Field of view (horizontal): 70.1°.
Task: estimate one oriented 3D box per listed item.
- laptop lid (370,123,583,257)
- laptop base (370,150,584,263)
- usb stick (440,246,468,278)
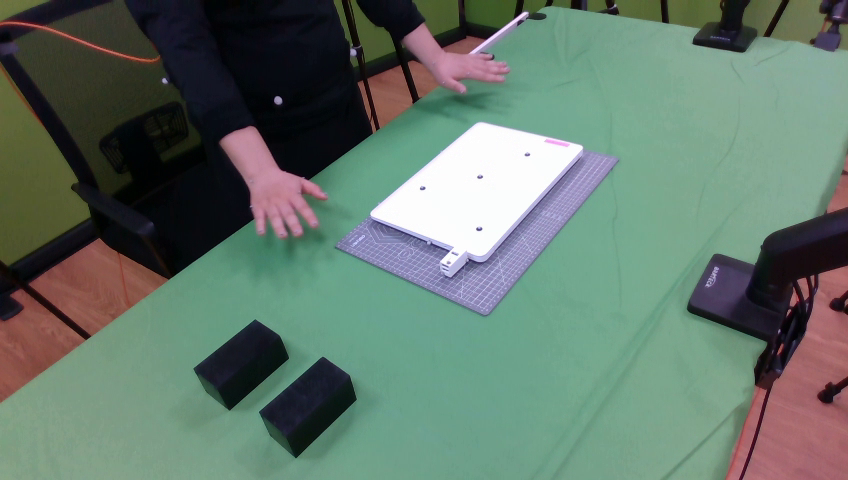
[{"bbox_3d":[0.099,-0.106,1.064,0.240,0.013,0.358,22,48,33],"label":"laptop lid"},{"bbox_3d":[0.102,-0.096,1.071,0.233,0.023,0.355,19,47,32],"label":"laptop base"},{"bbox_3d":[0.050,0.029,0.911,0.021,0.027,0.059,24,47,32],"label":"usb stick"}]
